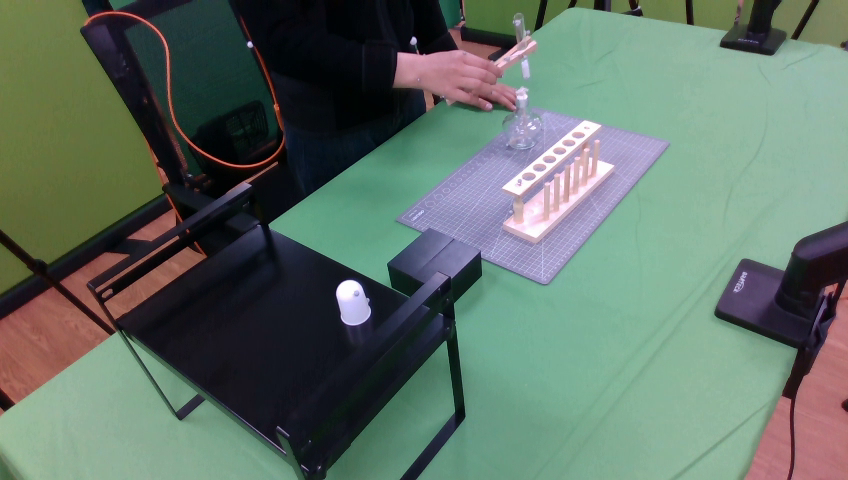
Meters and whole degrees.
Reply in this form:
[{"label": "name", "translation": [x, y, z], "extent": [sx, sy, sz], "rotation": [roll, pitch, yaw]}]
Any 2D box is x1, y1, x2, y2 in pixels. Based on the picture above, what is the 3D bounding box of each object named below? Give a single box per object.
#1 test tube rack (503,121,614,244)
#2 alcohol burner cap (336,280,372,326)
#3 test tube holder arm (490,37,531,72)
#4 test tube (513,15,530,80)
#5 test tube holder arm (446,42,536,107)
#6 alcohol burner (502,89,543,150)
[{"label": "test tube rack", "translation": [0.230, -0.102, 1.006], "extent": [0.066, 0.085, 0.243], "rotation": [26, 50, 35]}, {"label": "alcohol burner cap", "translation": [-0.073, 0.061, 0.619], "extent": [0.034, 0.048, 0.033], "rotation": [-5, 42, 5]}, {"label": "test tube holder arm", "translation": [0.146, -0.310, 1.022], "extent": [0.088, 0.015, 0.010], "rotation": [-42, 60, -7]}, {"label": "test tube", "translation": [0.166, -0.321, 1.021], "extent": [0.017, 0.151, 0.017], "rotation": [-5, 66, 13]}, {"label": "test tube holder arm", "translation": [0.113, -0.279, 1.016], "extent": [0.178, 0.015, 0.013], "rotation": [-35, 59, -3]}, {"label": "alcohol burner", "translation": [0.186, -0.233, 1.147], "extent": [0.078, 0.119, 0.077], "rotation": [-5, 42, 5]}]
